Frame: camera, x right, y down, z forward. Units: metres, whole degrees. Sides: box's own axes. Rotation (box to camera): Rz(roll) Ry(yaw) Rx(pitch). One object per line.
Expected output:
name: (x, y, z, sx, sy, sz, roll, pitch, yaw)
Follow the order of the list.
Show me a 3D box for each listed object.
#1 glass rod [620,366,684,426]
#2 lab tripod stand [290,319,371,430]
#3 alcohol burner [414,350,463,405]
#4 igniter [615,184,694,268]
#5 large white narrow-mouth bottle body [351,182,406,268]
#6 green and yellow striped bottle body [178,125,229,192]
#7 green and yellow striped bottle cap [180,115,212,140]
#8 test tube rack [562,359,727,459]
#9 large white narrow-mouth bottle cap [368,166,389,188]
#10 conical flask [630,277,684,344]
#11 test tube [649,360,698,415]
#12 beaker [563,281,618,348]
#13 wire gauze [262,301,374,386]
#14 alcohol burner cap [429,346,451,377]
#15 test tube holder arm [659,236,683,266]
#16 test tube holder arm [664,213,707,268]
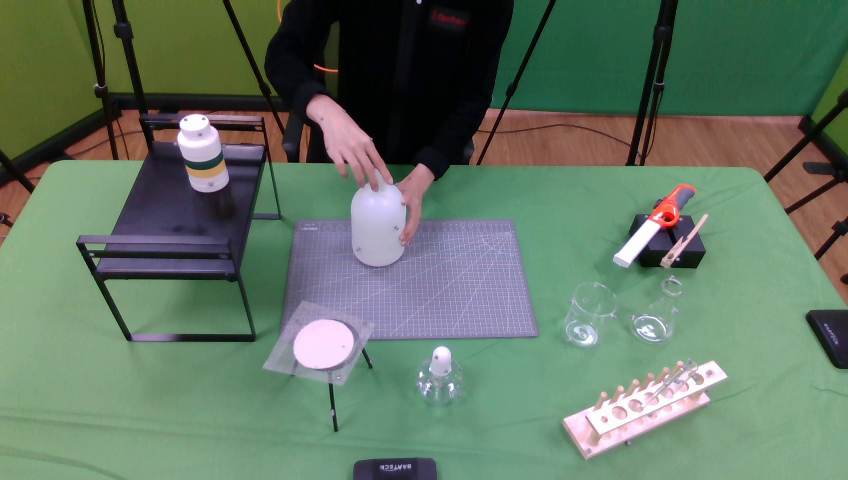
glass rod: (0.323, 0.227, 0.866, 0.008, 0.200, 0.008, 5, 51, -7)
lab tripod stand: (-0.146, 0.193, 0.923, 0.148, 0.132, 0.147, 1, 47, -1)
alcohol burner: (0.023, 0.205, 0.939, 0.078, 0.120, 0.077, 1, 47, -1)
igniter: (0.459, -0.035, 1.197, 0.057, 0.025, 0.276, 32, 55, 27)
large white narrow-mouth bottle body: (-0.084, -0.046, 1.114, 0.102, 0.195, 0.101, 3, 44, -2)
green and yellow striped bottle body: (-0.361, -0.142, 0.989, 0.063, 0.120, 0.063, 2, 46, -2)
green and yellow striped bottle cap: (-0.358, -0.177, 0.951, 0.045, 0.020, 0.045, 2, 45, -1)
test tube rack: (0.341, 0.247, 0.940, 0.243, 0.085, 0.066, -16, 49, -18)
large white narrow-mouth bottle cap: (-0.078, -0.110, 1.053, 0.038, 0.024, 0.037, 3, 44, -2)
conical flask: (0.408, 0.117, 1.045, 0.075, 0.122, 0.075, 2, 46, -2)
test tube: (0.365, 0.222, 0.898, 0.017, 0.151, 0.017, 4, 49, -5)
beaker: (0.283, 0.129, 1.041, 0.074, 0.101, 0.083, 11, 46, 7)
wire gauze: (-0.150, 0.148, 0.873, 0.121, 0.011, 0.124, 14, 46, 12)
alcohol burner cap: (0.026, 0.180, 0.912, 0.034, 0.048, 0.033, 1, 47, -1)
test tube holder arm: (0.472, 0.020, 1.149, 0.010, 0.015, 0.088, 35, 54, 27)
test tube holder arm: (0.507, -0.001, 1.171, 0.013, 0.015, 0.178, 34, 54, 26)
